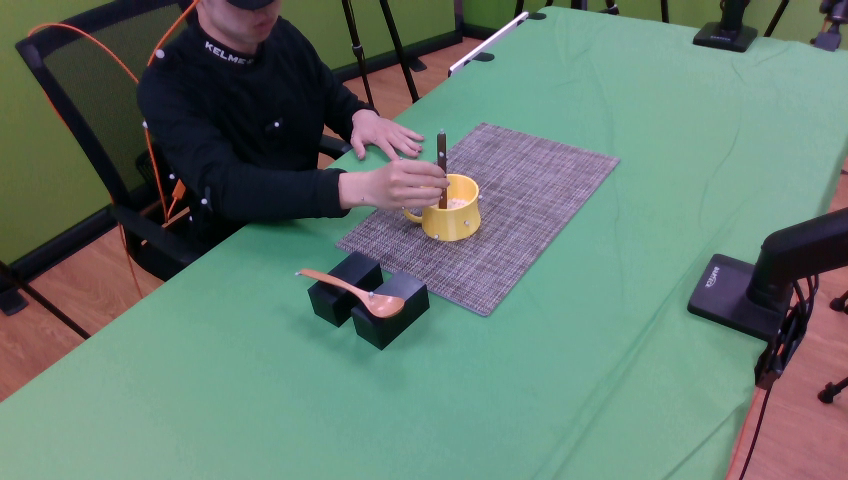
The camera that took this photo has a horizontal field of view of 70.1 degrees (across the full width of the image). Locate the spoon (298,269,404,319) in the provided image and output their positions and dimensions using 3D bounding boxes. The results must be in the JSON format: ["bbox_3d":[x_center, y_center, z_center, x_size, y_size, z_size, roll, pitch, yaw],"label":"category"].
[{"bbox_3d":[-0.106,0.068,0.831,0.192,0.022,0.042,21,48,32],"label":"spoon"}]

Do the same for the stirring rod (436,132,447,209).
[{"bbox_3d":[0.028,-0.088,0.932,0.014,0.177,0.005,-17,42,-16],"label":"stirring rod"}]

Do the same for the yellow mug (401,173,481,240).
[{"bbox_3d":[0.026,-0.054,0.989,0.130,0.064,0.099,-1,41,8],"label":"yellow mug"}]
